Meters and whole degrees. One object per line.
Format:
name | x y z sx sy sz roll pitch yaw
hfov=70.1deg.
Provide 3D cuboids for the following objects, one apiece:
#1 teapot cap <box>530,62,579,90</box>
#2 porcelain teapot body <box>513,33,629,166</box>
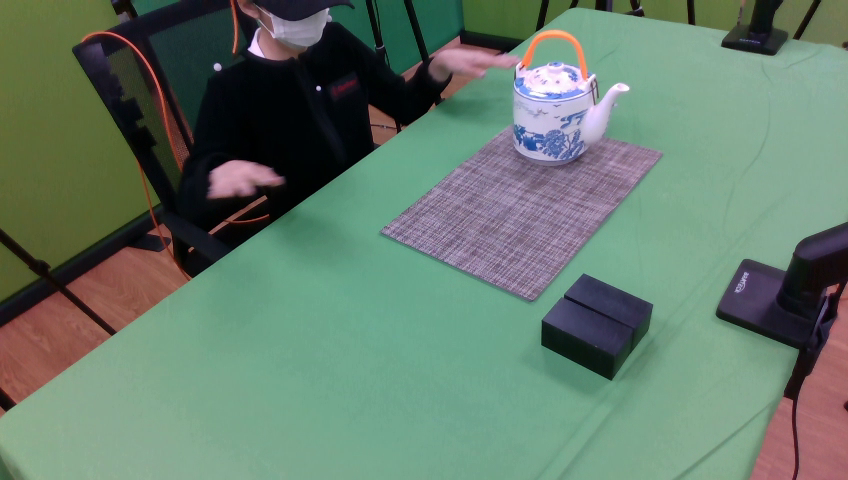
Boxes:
teapot cap | 0.228 -0.286 1.054 0.085 0.044 0.085 -3 40 3
porcelain teapot body | 0.256 -0.247 1.064 0.204 0.226 0.145 18 47 28
